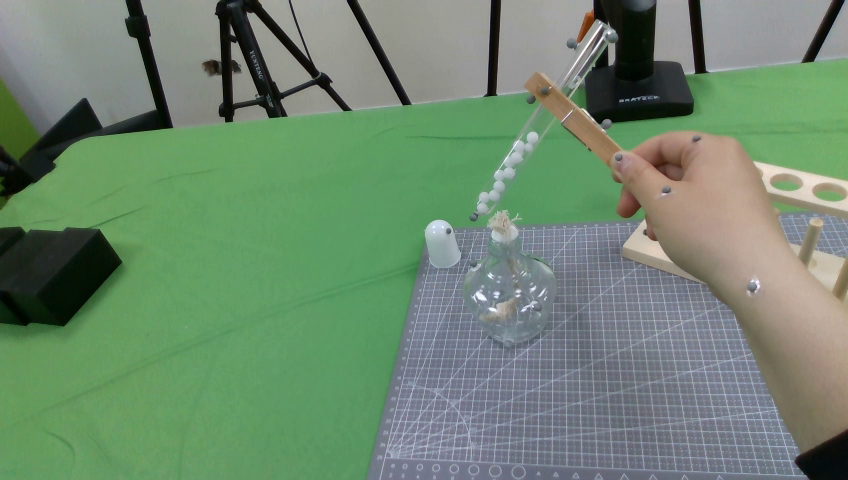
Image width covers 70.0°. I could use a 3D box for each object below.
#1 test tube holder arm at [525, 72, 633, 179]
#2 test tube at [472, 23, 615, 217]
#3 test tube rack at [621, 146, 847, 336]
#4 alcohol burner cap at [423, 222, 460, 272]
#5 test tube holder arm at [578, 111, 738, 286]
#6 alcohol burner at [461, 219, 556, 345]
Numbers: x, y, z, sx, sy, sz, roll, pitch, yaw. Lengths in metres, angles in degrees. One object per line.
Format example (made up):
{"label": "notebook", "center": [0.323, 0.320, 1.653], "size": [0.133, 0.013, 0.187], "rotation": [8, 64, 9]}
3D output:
{"label": "test tube holder arm", "center": [0.100, -0.075, 0.394], "size": [0.087, 0.015, 0.010], "rotation": [47, 21, 8]}
{"label": "test tube", "center": [0.077, -0.076, 0.411], "size": [0.017, 0.150, 0.017], "rotation": [28, 23, -13]}
{"label": "test tube rack", "center": [0.282, 0.003, 0.471], "size": [0.240, 0.086, 0.066], "rotation": [22, 52, 36]}
{"label": "alcohol burner cap", "center": [0.015, 0.003, 0.584], "size": [0.034, 0.048, 0.033], "rotation": [-7, 41, 7]}
{"label": "test tube holder arm", "center": [0.131, -0.042, 0.389], "size": [0.015, 0.013, 0.177], "rotation": [-46, 73, 21]}
{"label": "alcohol burner", "center": [0.066, 0.028, 0.483], "size": [0.078, 0.120, 0.077], "rotation": [-7, 42, 7]}
